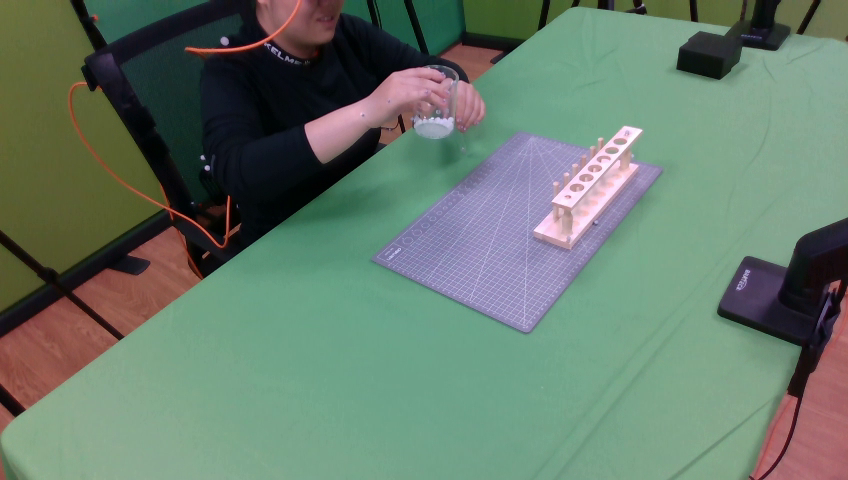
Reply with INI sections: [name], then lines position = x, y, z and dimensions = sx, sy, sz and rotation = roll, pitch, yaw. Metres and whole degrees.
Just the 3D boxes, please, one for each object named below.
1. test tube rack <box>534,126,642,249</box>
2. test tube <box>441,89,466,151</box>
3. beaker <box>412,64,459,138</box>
[test tube rack]
position = 0.271, -0.095, 0.990
dimensions = 0.066, 0.085, 0.243
rotation = 23, 49, 33
[test tube]
position = 0.056, -0.216, 1.107
dimensions = 0.017, 0.151, 0.017
rotation = -9, 54, 12
[beaker]
position = 0.019, -0.226, 1.003
dimensions = 0.073, 0.084, 0.100
rotation = -1, 74, 23
